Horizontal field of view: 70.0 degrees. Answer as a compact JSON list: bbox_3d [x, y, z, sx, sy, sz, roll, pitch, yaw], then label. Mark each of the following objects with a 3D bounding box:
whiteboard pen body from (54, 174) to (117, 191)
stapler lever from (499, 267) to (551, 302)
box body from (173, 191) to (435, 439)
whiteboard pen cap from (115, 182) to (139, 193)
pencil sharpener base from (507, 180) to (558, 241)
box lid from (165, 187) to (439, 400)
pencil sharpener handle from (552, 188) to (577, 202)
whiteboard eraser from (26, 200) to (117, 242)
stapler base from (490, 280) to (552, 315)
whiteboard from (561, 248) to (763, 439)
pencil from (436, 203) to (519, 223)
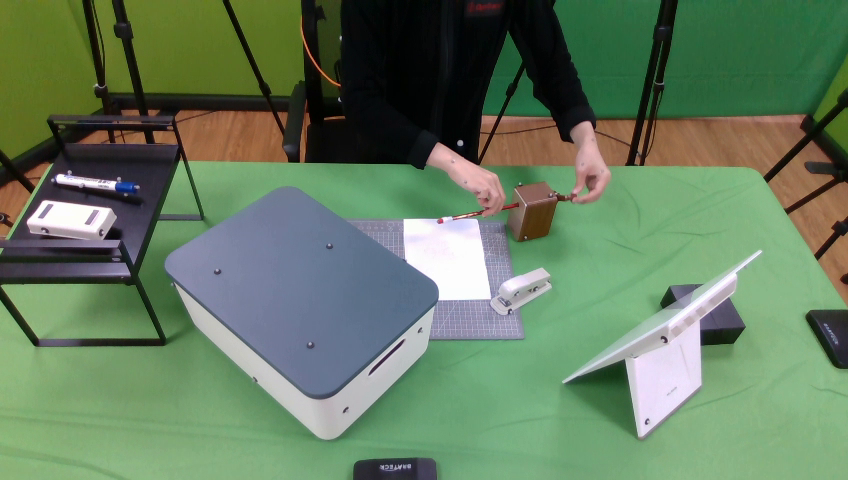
[{"bbox_3d":[-0.541,-0.093,0.993,0.140,0.017,0.017,7,46,9],"label":"whiteboard pen body"},{"bbox_3d":[0.185,0.076,1.101,0.118,0.040,0.026,-25,57,-29],"label":"stapler lever"},{"bbox_3d":[-0.191,0.110,0.979,0.362,0.161,0.254,33,53,24],"label":"box body"},{"bbox_3d":[-0.483,-0.086,0.984,0.033,0.018,0.018,7,46,10],"label":"whiteboard pen cap"},{"bbox_3d":[0.217,-0.059,1.212,0.077,0.107,0.061,-12,48,-16],"label":"pencil sharpener base"},{"bbox_3d":[-0.186,0.060,0.925,0.370,0.015,0.263,32,53,25],"label":"box lid"},{"bbox_3d":[0.271,-0.087,1.191,0.031,0.036,0.067,-12,9,-16],"label":"pencil sharpener handle"},{"bbox_3d":[-0.532,-0.026,0.919,0.113,0.042,0.055,7,45,3],"label":"whiteboard eraser"},{"bbox_3d":[0.181,0.094,1.118,0.130,0.024,0.041,-24,57,-29],"label":"stapler base"},{"bbox_3d":[0.386,0.176,0.905,0.217,0.306,0.143,-26,72,-27],"label":"whiteboard"},{"bbox_3d":[0.113,-0.054,1.156,0.194,0.012,0.012,-12,48,-20],"label":"pencil"}]
